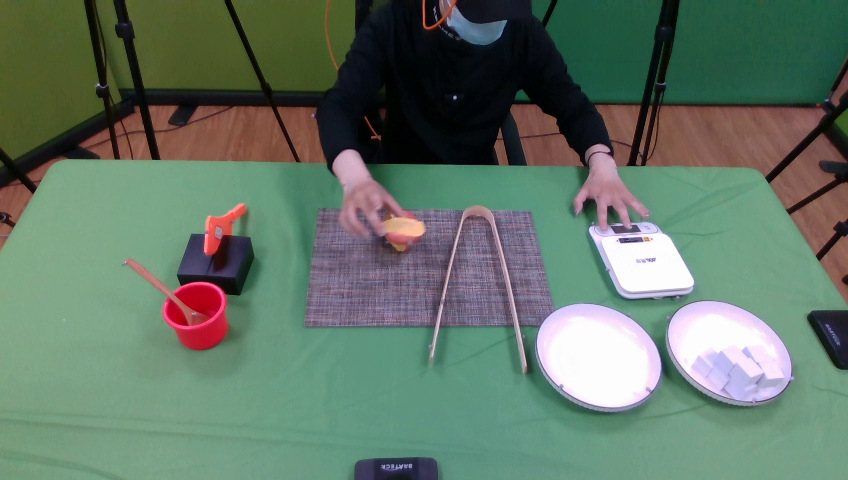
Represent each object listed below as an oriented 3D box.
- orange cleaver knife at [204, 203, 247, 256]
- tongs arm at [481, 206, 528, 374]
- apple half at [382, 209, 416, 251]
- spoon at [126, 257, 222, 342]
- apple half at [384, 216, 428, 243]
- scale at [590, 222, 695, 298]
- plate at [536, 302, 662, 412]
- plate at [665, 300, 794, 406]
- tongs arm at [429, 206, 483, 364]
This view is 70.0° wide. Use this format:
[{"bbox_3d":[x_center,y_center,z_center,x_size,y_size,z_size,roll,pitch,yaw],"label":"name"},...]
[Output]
[{"bbox_3d":[-0.374,-0.024,1.146,0.012,0.077,0.211,4,14,1],"label":"orange cleaver knife"},{"bbox_3d":[0.149,0.076,1.123,0.028,0.028,0.385,-5,46,-2],"label":"tongs arm"},{"bbox_3d":[-0.039,-0.022,1.175,0.053,0.075,0.080,-26,50,-31],"label":"apple half"},{"bbox_3d":[-0.408,0.096,0.990,0.194,0.021,0.041,50,53,-18],"label":"spoon"},{"bbox_3d":[-0.031,-0.014,1.056,0.081,0.033,0.081,5,23,-2],"label":"apple half"},{"bbox_3d":[0.424,0.031,1.189,0.149,0.032,0.199,-3,46,-7],"label":"scale"},{"bbox_3d":[0.288,0.197,1.016,0.209,0.038,0.208,2,46,-2],"label":"plate"},{"bbox_3d":[0.513,0.194,1.034,0.208,0.039,0.206,2,46,-2],"label":"plate"},{"bbox_3d":[0.064,0.068,1.123,0.051,0.026,0.382,8,46,6],"label":"tongs arm"}]
